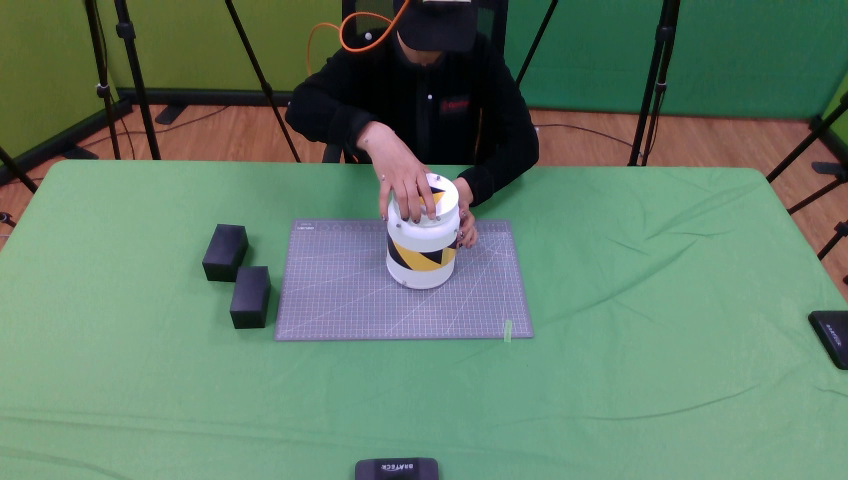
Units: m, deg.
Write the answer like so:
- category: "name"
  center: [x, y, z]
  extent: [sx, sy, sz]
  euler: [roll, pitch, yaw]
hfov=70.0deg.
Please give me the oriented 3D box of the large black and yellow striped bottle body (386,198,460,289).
- category: "large black and yellow striped bottle body"
  center: [-0.003, -0.015, 1.094]
  extent: [0.131, 0.185, 0.130]
  euler: [2, 46, -2]

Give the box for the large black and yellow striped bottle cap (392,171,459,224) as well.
- category: "large black and yellow striped bottle cap"
  center: [0.003, -0.074, 1.035]
  extent: [0.115, 0.019, 0.114]
  euler: [2, 47, -2]
